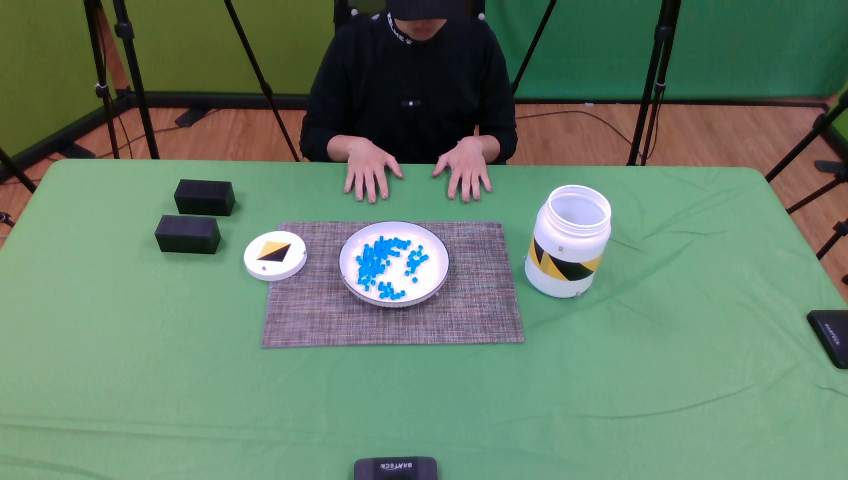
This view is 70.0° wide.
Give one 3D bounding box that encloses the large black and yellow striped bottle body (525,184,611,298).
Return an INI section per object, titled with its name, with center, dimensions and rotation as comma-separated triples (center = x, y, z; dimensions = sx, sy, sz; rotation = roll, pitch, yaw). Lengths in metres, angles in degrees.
[large black and yellow striped bottle body]
center = 0.262, 0.002, 1.101
dimensions = 0.131, 0.185, 0.130
rotation = 2, 46, -2

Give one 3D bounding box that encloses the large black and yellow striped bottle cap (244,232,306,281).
[large black and yellow striped bottle cap]
center = -0.283, 0.030, 1.146
dimensions = 0.115, 0.019, 0.114
rotation = -1, 45, 1

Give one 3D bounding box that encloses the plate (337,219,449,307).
[plate]
center = -0.057, 0.045, 1.133
dimensions = 0.208, 0.039, 0.206
rotation = 2, 46, -2
